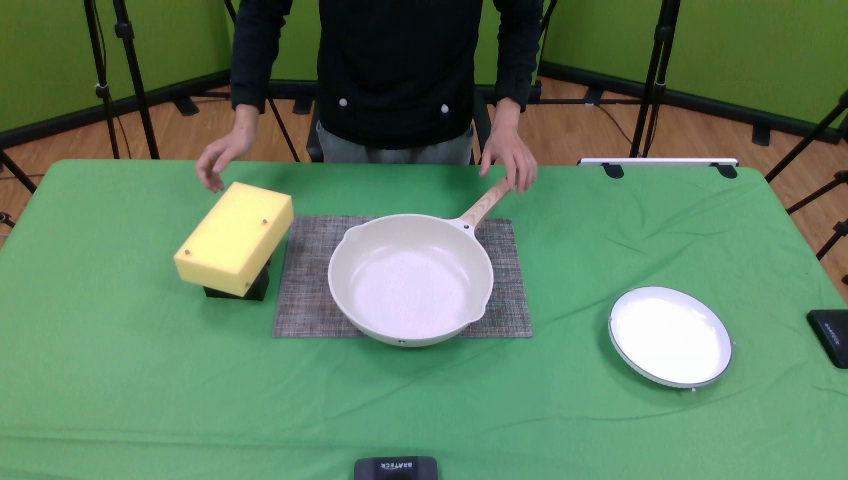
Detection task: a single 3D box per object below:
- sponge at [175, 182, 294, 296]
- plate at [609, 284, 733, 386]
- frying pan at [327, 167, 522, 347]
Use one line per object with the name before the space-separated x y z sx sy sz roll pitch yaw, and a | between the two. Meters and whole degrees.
sponge | -0.332 -0.007 1.086 0.118 0.061 0.206 13 47 9
plate | 0.425 0.167 1.059 0.208 0.039 0.206 2 46 -2
frying pan | 0.042 0.009 1.132 0.305 0.103 0.487 34 61 24
